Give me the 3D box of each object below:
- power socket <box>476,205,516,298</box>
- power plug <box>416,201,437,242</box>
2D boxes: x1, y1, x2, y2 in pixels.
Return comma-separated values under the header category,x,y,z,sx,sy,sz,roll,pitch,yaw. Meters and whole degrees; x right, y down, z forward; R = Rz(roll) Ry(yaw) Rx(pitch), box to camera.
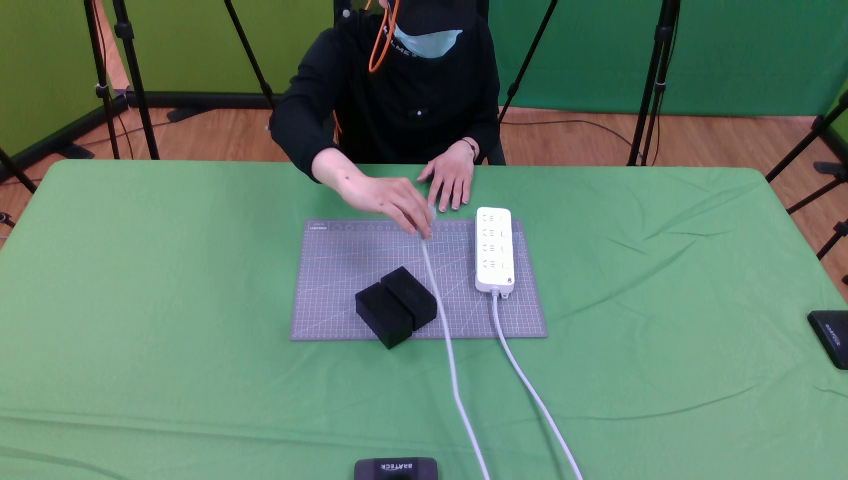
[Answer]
category,x,y,z,sx,sy,sz,roll,pitch,yaw
power socket,0.139,0.013,1.178,0.072,0.033,0.225,4,47,2
power plug,-0.001,-0.030,1.020,0.035,0.053,0.072,12,82,21
